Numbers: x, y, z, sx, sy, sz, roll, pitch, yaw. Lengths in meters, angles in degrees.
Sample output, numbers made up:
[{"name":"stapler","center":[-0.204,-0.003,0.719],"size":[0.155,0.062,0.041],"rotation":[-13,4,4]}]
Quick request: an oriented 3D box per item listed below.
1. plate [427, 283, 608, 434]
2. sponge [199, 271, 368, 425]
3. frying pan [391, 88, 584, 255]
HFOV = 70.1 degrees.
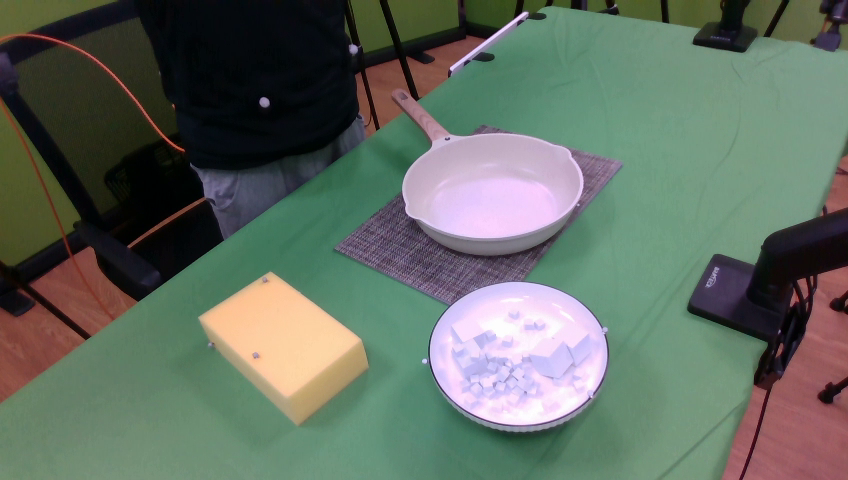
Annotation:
[{"name":"plate","center":[0.108,0.137,0.708],"size":[0.207,0.039,0.206],"rotation":[-4,42,4]},{"name":"sponge","center":[-0.189,0.136,0.807],"size":[0.205,0.061,0.118],"rotation":[28,52,35]},{"name":"frying pan","center":[0.063,-0.143,1.056],"size":[0.308,0.103,0.483],"rotation":[-22,51,-18]}]
